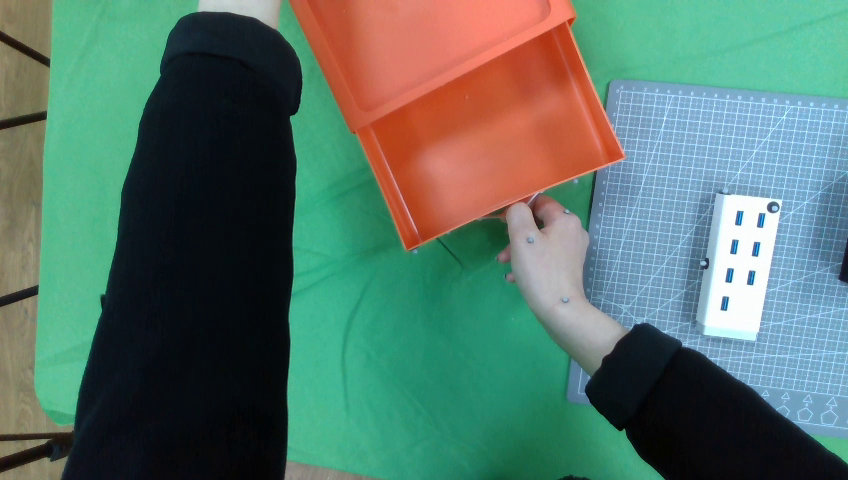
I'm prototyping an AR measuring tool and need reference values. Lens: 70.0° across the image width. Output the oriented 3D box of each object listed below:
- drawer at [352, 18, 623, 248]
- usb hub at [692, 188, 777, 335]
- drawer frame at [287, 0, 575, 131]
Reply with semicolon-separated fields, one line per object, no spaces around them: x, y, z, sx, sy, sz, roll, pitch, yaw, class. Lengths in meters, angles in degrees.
0.033;-0.126;0.512;0.194;0.073;0.212;-23;95;10;drawer
0.272;0.019;0.533;0.049;0.025;0.125;6;99;5;usb hub
-0.015;-0.227;0.500;0.201;0.082;0.214;-26;94;9;drawer frame
